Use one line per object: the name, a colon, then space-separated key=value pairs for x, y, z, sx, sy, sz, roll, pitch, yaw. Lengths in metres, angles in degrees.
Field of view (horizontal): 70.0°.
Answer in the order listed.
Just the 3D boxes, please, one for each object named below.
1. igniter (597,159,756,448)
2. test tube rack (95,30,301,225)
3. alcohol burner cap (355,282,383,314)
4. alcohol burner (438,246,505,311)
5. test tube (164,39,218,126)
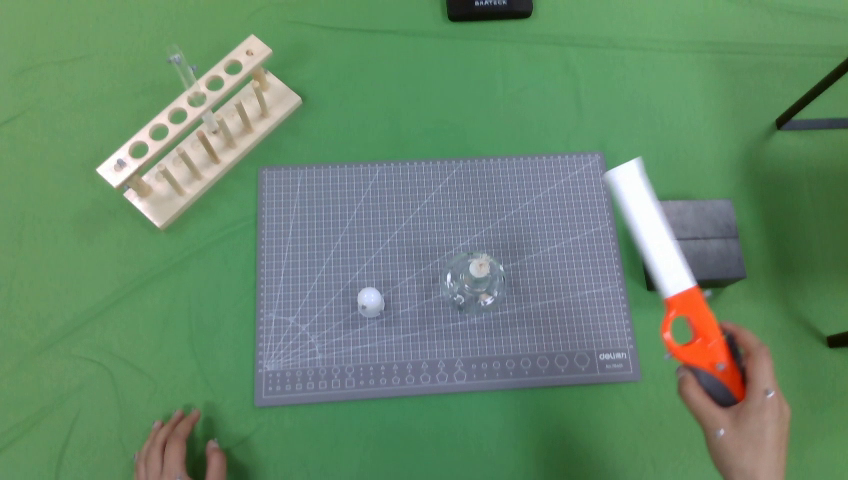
igniter: x=0.231 y=0.056 z=0.554 sx=0.057 sy=0.025 sz=0.276 roll=-25 pitch=86 yaw=5
test tube rack: x=-0.265 y=-0.136 z=0.739 sx=0.066 sy=0.085 sz=0.242 roll=40 pitch=75 yaw=10
alcohol burner cap: x=-0.065 y=0.066 z=0.709 sx=0.034 sy=0.048 sz=0.033 roll=0 pitch=72 yaw=0
alcohol burner: x=0.056 y=0.039 z=0.686 sx=0.078 sy=0.119 sz=0.077 roll=1 pitch=71 yaw=-3
test tube: x=-0.266 y=-0.177 z=0.700 sx=0.017 sy=0.151 sz=0.017 roll=1 pitch=68 yaw=-2
